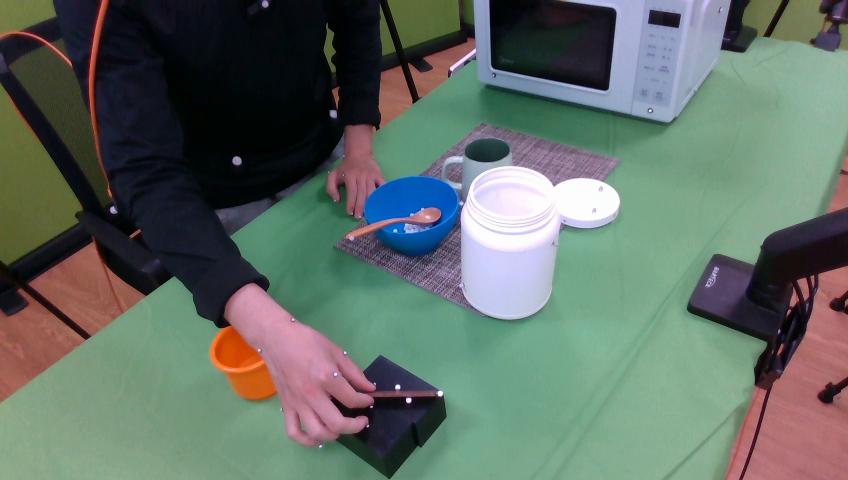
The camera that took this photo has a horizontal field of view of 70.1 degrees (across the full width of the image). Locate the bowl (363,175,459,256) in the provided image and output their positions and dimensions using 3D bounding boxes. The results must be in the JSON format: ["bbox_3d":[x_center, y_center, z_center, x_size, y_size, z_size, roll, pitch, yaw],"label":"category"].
[{"bbox_3d":[-0.016,-0.029,0.955,0.151,0.077,0.150,-4,40,4],"label":"bowl"}]

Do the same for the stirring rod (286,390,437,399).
[{"bbox_3d":[-0.073,0.179,0.698,0.176,0.006,0.014,-2,5,6],"label":"stirring rod"}]

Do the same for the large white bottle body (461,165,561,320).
[{"bbox_3d":[0.115,0.004,0.816,0.130,0.185,0.130,-2,43,2],"label":"large white bottle body"}]

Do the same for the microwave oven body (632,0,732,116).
[{"bbox_3d":[0.377,-0.462,1.267,0.438,0.261,0.327,21,48,30],"label":"microwave oven body"}]

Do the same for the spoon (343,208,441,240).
[{"bbox_3d":[-0.046,-0.025,0.912,0.041,0.021,0.195,27,27,37],"label":"spoon"}]

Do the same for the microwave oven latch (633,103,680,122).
[{"bbox_3d":[0.444,-0.249,1.157,0.078,0.029,0.030,21,49,30],"label":"microwave oven latch"}]

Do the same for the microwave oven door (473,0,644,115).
[{"bbox_3d":[0.257,-0.396,1.199,0.353,0.245,0.039,21,48,29],"label":"microwave oven door"}]

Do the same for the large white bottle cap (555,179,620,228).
[{"bbox_3d":[0.265,-0.062,1.001,0.115,0.018,0.114,-3,41,3],"label":"large white bottle cap"}]

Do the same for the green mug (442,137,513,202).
[{"bbox_3d":[0.091,-0.108,1.012,0.125,0.105,0.092,2,42,11],"label":"green mug"}]
